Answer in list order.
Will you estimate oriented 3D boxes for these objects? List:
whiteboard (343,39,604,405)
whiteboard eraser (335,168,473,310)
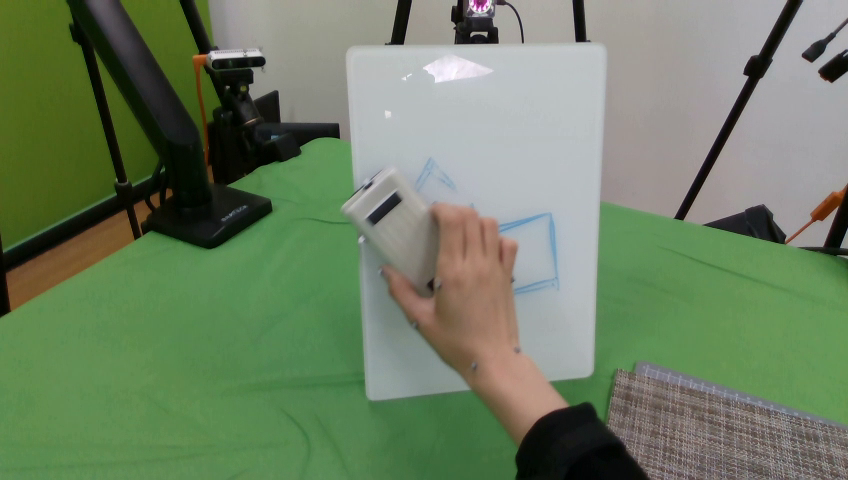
[{"bbox_3d":[0.039,-0.025,0.584,0.218,0.306,0.143,-4,14,-9],"label":"whiteboard"},{"bbox_3d":[-0.015,0.000,0.490,0.055,0.113,0.041,-43,17,-4],"label":"whiteboard eraser"}]
